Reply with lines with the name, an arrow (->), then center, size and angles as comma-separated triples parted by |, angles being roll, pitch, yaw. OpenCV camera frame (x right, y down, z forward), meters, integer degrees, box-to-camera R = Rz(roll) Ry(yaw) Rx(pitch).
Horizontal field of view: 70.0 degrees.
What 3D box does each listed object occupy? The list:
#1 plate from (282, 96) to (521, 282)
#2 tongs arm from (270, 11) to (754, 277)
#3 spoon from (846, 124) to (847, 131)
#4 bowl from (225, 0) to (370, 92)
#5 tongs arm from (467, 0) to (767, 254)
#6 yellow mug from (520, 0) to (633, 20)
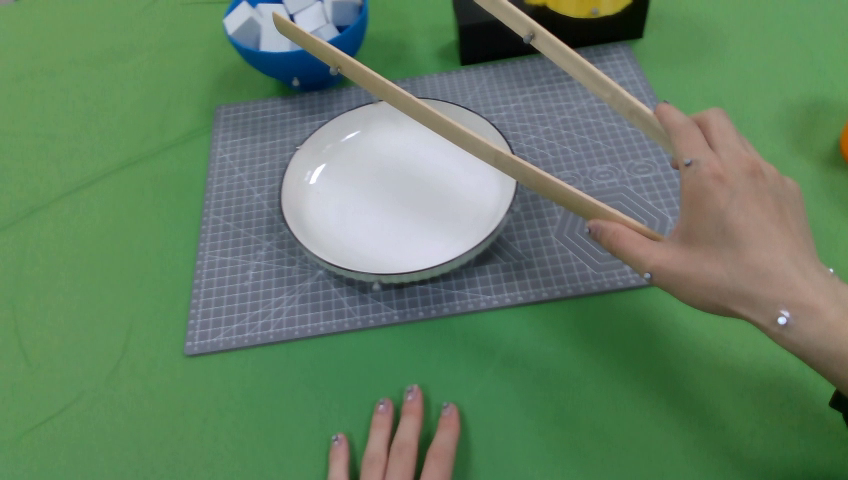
plate -> -0.019, -0.046, 0.537 | 0.207, 0.039, 0.205 | -3, 54, 5
tongs arm -> 0.038, -0.076, 0.428 | 0.385, 0.028, 0.028 | 32, 69, 16
spoon -> 0.411, -0.093, 0.455 | 0.041, 0.193, 0.022 | -27, 99, -10
bowl -> -0.126, -0.214, 0.651 | 0.151, 0.077, 0.150 | -3, 53, 5
tongs arm -> 0.085, -0.125, 0.444 | 0.050, 0.027, 0.382 | -43, 71, -14
yellow mug -> 0.152, -0.274, 0.609 | 0.131, 0.064, 0.099 | -22, 54, -8
